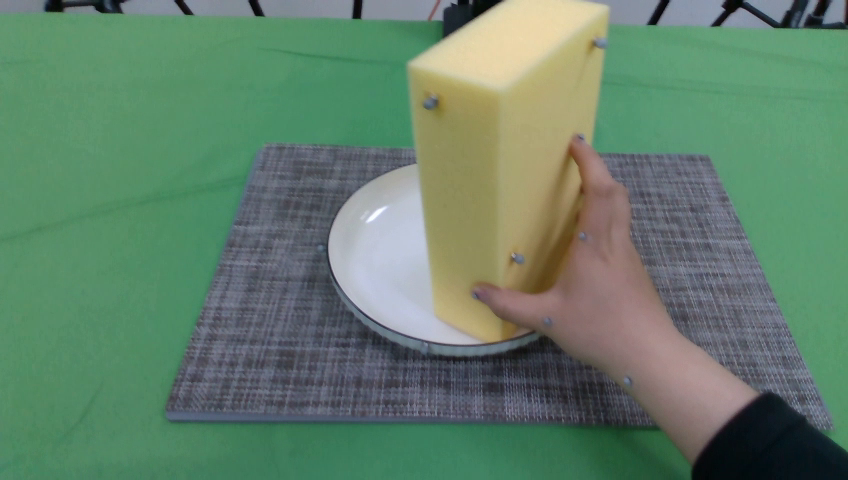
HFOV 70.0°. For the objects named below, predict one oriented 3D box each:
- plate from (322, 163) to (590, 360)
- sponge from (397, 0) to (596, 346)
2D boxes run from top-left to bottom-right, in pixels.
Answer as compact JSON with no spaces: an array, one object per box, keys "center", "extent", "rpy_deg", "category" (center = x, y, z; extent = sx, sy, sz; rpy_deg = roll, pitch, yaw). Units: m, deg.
[{"center":[0.025,0.012,0.485],"extent":[0.208,0.039,0.205],"rpy_deg":[1,46,-1],"category":"plate"},{"center":[0.053,-0.040,0.404],"extent":[0.060,0.209,0.118],"rpy_deg":[24,51,29],"category":"sponge"}]
